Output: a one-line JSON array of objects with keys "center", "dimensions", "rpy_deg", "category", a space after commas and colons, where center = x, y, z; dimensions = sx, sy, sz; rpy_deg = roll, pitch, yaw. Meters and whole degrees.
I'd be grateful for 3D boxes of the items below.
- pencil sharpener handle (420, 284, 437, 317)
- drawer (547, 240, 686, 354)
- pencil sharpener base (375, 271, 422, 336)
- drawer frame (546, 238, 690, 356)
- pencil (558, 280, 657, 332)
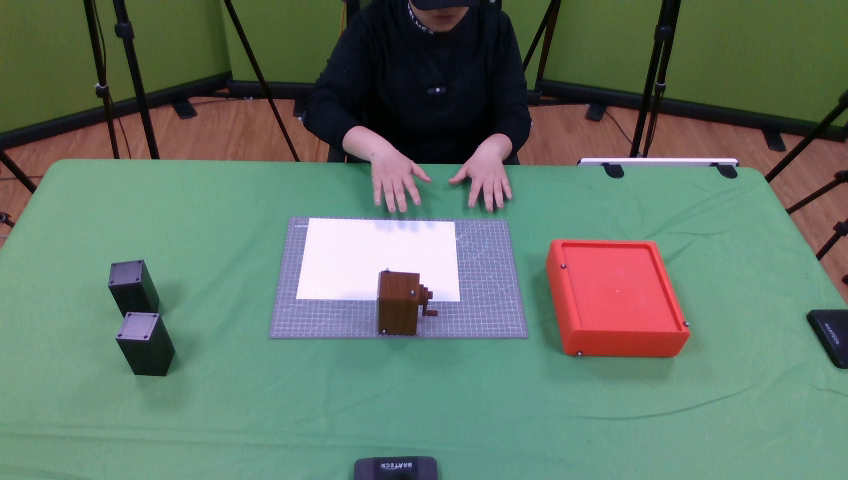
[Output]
[{"center": [0.009, 0.104, 1.017], "dimensions": [0.030, 0.068, 0.036], "rpy_deg": [3, 39, -2], "category": "pencil sharpener handle"}, {"center": [0.336, 0.098, 1.087], "dimensions": [0.194, 0.073, 0.210], "rpy_deg": [2, 46, -3], "category": "drawer"}, {"center": [-0.043, 0.109, 1.025], "dimensions": [0.077, 0.107, 0.061], "rpy_deg": [3, 45, -2], "category": "pencil sharpener base"}, {"center": [0.337, 0.098, 1.084], "dimensions": [0.202, 0.083, 0.212], "rpy_deg": [1, 46, -4], "category": "drawer frame"}, {"center": [0.334, 0.121, 1.105], "dimensions": [0.193, 0.012, 0.012], "rpy_deg": [27, 49, 14], "category": "pencil"}]
